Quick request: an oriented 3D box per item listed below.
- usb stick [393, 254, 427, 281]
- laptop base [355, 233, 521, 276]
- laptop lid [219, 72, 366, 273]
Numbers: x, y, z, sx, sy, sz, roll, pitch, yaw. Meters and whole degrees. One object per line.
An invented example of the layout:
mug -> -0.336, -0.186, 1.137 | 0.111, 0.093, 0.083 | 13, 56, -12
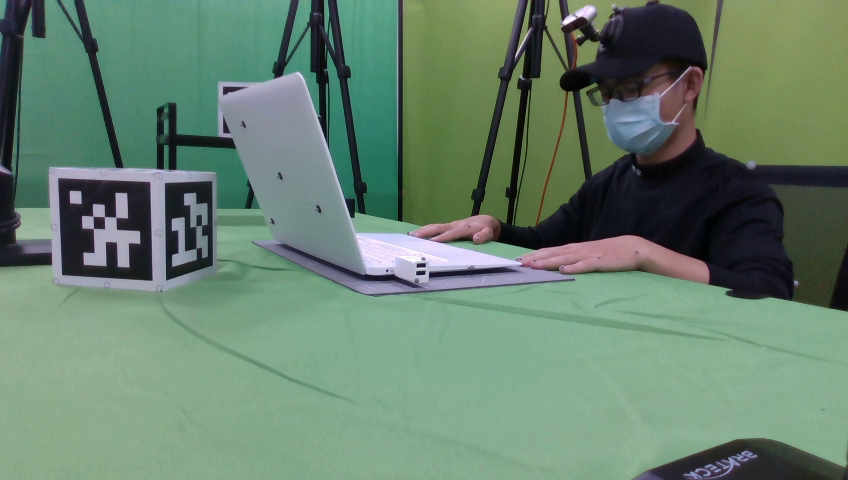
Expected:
usb stick -> -0.020, 0.030, 0.694 | 0.021, 0.027, 0.059 | -4, 6, -31
laptop base -> -0.056, 0.018, 0.898 | 0.237, 0.023, 0.352 | 2, 6, -32
laptop lid -> -0.189, -0.087, 0.801 | 0.013, 0.242, 0.355 | -26, 21, -26
